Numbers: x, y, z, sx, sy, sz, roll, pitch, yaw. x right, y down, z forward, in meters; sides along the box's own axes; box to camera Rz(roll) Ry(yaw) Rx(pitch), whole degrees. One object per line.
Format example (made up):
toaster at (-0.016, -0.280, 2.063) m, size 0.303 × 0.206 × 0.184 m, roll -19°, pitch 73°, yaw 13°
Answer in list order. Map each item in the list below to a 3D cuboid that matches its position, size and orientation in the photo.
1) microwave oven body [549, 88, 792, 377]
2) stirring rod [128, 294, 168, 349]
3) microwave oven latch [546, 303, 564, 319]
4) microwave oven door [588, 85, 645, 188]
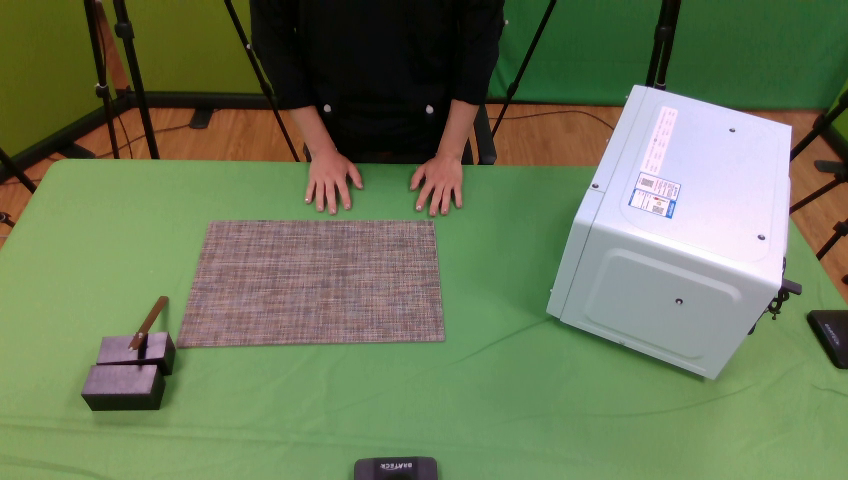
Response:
microwave oven body at (0.456, -0.028, 1.088) m, size 0.325 × 0.261 × 0.440 m, roll 20°, pitch 47°, yaw 16°
stirring rod at (-0.451, 0.131, 0.996) m, size 0.014 × 0.006 × 0.175 m, roll 9°, pitch 21°, yaw -10°
microwave oven latch at (0.242, 0.102, 1.081) m, size 0.030 × 0.029 × 0.079 m, roll 21°, pitch 48°, yaw 17°
microwave oven door at (0.342, -0.107, 1.149) m, size 0.039 × 0.245 × 0.354 m, roll 20°, pitch 48°, yaw 15°
